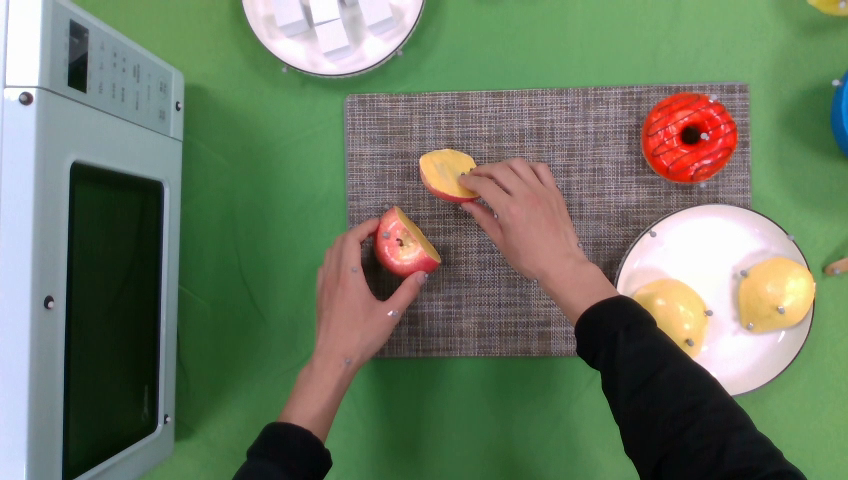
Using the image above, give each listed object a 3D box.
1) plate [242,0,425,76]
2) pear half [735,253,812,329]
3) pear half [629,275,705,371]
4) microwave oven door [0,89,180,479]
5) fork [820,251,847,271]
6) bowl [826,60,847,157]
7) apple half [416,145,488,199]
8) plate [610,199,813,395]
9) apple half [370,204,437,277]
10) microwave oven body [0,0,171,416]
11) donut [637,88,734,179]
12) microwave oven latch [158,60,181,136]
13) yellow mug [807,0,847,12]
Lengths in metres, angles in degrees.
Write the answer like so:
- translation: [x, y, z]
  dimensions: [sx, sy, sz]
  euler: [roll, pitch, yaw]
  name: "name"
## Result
- translation: [-0.099, -0.285, 0.679]
  dimensions: [0.207, 0.039, 0.207]
  euler: [0, 90, 3]
  name: "plate"
- translation: [0.365, 0.057, 0.639]
  dimensions: [0.070, 0.031, 0.088]
  euler: [36, 104, 26]
  name: "pear half"
- translation: [0.268, 0.094, 0.645]
  dimensions: [0.076, 0.056, 0.110]
  euler: [-28, 93, 7]
  name: "pear half"
- translation: [-0.303, 0.062, 0.573]
  dimensions: [0.039, 0.244, 0.355]
  euler: [1, 90, 3]
  name: "microwave oven door"
- translation: [0.519, -0.016, 0.624]
  dimensions: [0.207, 0.018, 0.028]
  euler: [-31, 97, 23]
  name: "fork"
- translation: [0.484, -0.135, 0.630]
  dimensions: [0.151, 0.077, 0.151]
  euler: [0, 91, 3]
  name: "bowl"
- translation: [0.025, -0.066, 0.654]
  dimensions: [0.081, 0.081, 0.033]
  euler: [26, 134, 3]
  name: "apple half"
- translation: [0.306, 0.060, 0.657]
  dimensions: [0.209, 0.038, 0.209]
  euler: [0, 90, 3]
  name: "plate"
- translation: [-0.028, 0.007, 0.656]
  dimensions: [0.053, 0.074, 0.081]
  euler: [-38, 93, 8]
  name: "apple half"
- translation: [-0.447, 0.015, 0.585]
  dimensions: [0.326, 0.260, 0.441]
  euler: [2, 91, 3]
  name: "microwave oven body"
- translation: [0.280, -0.115, 0.654]
  dimensions: [0.099, 0.048, 0.099]
  euler: [0, 91, 6]
  name: "donut"
- translation: [-0.288, -0.157, 0.671]
  dimensions: [0.030, 0.029, 0.079]
  euler: [4, 91, 3]
  name: "microwave oven latch"
- translation: [0.446, -0.314, 0.636]
  dimensions: [0.100, 0.064, 0.130]
  euler: [-33, 88, 3]
  name: "yellow mug"
